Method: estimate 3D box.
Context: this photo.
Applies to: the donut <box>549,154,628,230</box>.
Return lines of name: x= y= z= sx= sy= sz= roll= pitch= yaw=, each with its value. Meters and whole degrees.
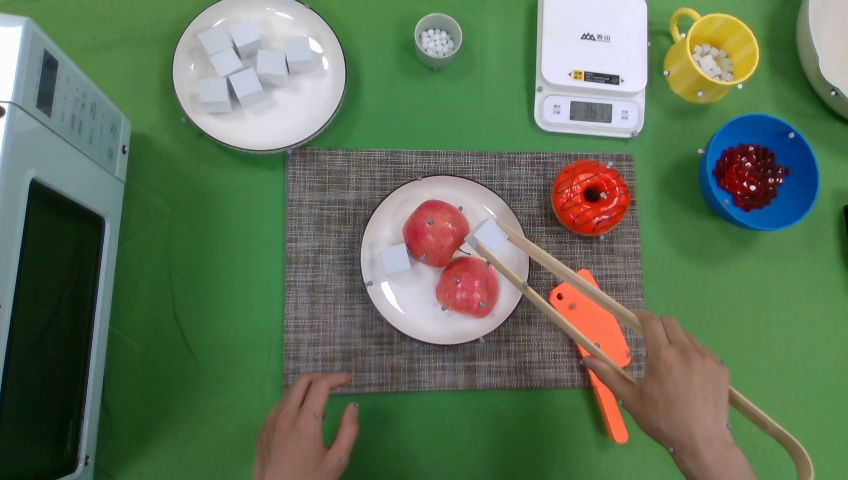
donut: x=0.206 y=-0.061 z=0.766 sx=0.099 sy=0.048 sz=0.098 roll=1 pitch=81 yaw=-4

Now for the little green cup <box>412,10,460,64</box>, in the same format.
little green cup: x=0.014 y=-0.260 z=0.785 sx=0.061 sy=0.039 sz=0.061 roll=1 pitch=80 yaw=-6

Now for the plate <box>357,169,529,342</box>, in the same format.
plate: x=0.022 y=0.019 z=0.736 sx=0.209 sy=0.038 sz=0.208 roll=1 pitch=81 yaw=-6

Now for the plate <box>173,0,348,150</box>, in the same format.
plate: x=-0.199 y=-0.208 z=0.752 sx=0.208 sy=0.039 sz=0.207 roll=1 pitch=80 yaw=-6

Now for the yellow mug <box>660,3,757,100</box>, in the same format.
yellow mug: x=0.370 y=-0.259 z=0.810 sx=0.100 sy=0.064 sz=0.130 roll=-33 pitch=85 yaw=-10

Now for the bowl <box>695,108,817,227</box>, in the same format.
bowl: x=0.409 y=-0.084 z=0.780 sx=0.151 sy=0.077 sz=0.151 roll=1 pitch=81 yaw=-6

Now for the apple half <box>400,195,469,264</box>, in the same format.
apple half: x=0.014 y=-0.017 z=0.725 sx=0.074 sy=0.053 sz=0.081 roll=44 pitch=78 yaw=6

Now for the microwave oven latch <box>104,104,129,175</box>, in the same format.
microwave oven latch: x=-0.361 y=-0.117 z=0.700 sx=0.030 sy=0.029 sz=0.079 roll=4 pitch=81 yaw=-6

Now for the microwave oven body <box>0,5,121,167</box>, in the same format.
microwave oven body: x=-0.504 y=0.034 z=0.561 sx=0.327 sy=0.260 sz=0.440 roll=3 pitch=81 yaw=-6

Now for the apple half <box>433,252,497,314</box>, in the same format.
apple half: x=0.051 y=0.049 z=0.727 sx=0.081 sy=0.033 sz=0.081 roll=0 pitch=82 yaw=-2

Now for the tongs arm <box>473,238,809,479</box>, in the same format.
tongs arm: x=0.203 y=0.113 z=0.613 sx=0.051 sy=0.027 sz=0.382 roll=-39 pitch=69 yaw=-19

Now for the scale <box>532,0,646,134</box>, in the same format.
scale: x=0.221 y=-0.245 z=0.808 sx=0.149 sy=0.031 sz=0.200 roll=4 pitch=81 yaw=-5

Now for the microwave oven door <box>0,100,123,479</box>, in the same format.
microwave oven door: x=-0.359 y=0.081 z=0.564 sx=0.039 sy=0.244 sz=0.354 roll=2 pitch=80 yaw=-6

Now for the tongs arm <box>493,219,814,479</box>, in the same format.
tongs arm: x=0.219 y=0.098 z=0.620 sx=0.385 sy=0.028 sz=0.028 roll=39 pitch=65 yaw=18

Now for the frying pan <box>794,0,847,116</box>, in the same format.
frying pan: x=0.696 y=-0.197 z=0.817 sx=0.307 sy=0.103 sz=0.485 roll=-27 pitch=77 yaw=-9

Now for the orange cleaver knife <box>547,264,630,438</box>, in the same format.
orange cleaver knife: x=0.217 y=0.134 z=0.748 sx=0.077 sy=0.012 sz=0.210 roll=-18 pitch=81 yaw=-15
